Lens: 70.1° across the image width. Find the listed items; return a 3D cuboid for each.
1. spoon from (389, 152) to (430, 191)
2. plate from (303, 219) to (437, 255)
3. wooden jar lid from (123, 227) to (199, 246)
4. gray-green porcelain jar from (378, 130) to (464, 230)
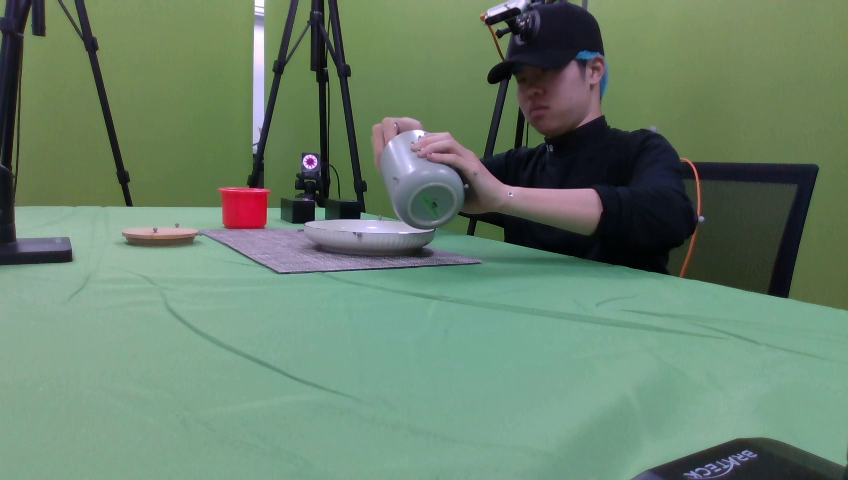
[{"bbox_3d":[-0.030,-0.107,0.915,0.042,0.022,0.193,-26,22,-6],"label":"spoon"},{"bbox_3d":[-0.084,-0.005,0.952,0.208,0.039,0.207,3,7,0],"label":"plate"},{"bbox_3d":[-0.408,-0.006,0.942,0.108,0.020,0.108,3,6,0],"label":"wooden jar lid"},{"bbox_3d":[-0.004,-0.084,0.876,0.106,0.106,0.126,0,36,-17],"label":"gray-green porcelain jar"}]
